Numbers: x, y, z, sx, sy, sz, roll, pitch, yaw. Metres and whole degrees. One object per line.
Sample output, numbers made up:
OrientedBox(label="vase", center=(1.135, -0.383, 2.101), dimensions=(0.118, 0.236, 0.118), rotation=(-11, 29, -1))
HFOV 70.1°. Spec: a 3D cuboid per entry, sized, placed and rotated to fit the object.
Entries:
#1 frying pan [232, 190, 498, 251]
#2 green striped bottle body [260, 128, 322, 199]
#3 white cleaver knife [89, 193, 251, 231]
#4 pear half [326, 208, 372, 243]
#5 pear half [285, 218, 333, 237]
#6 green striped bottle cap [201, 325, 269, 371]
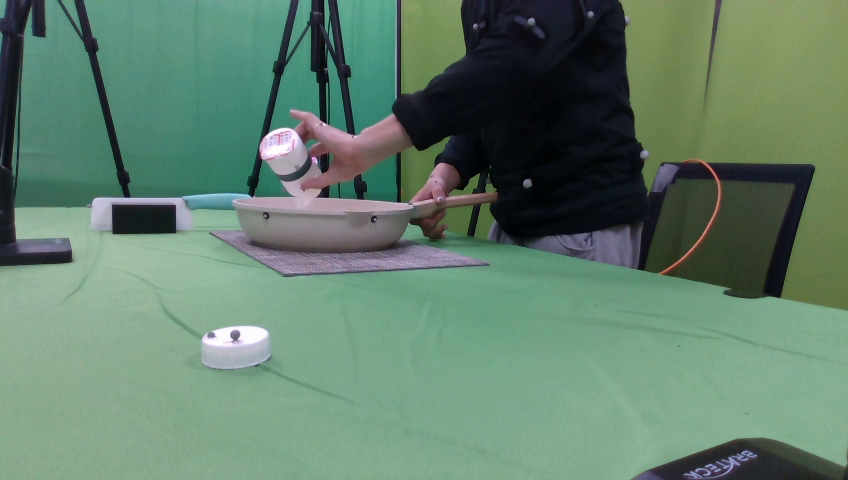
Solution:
OrientedBox(label="frying pan", center=(-0.073, -0.051, 1.048), dimensions=(0.490, 0.102, 0.305), rotation=(-11, 13, -27))
OrientedBox(label="green striped bottle body", center=(-0.203, -0.115, 0.951), dimensions=(0.063, 0.063, 0.119), rotation=(5, -30, 20))
OrientedBox(label="white cleaver knife", center=(-0.454, -0.052, 1.114), dimensions=(0.288, 0.066, 0.021), rotation=(-4, 14, -27))
OrientedBox(label="pear half", center=(-0.128, -0.026, 1.017), dimensions=(0.076, 0.056, 0.109), rotation=(6, 4, -17))
OrientedBox(label="pear half", center=(-0.198, -0.023, 1.053), dimensions=(0.088, 0.031, 0.070), rotation=(-9, 18, -44))
OrientedBox(label="green striped bottle cap", center=(-0.129, 0.073, 0.415), dimensions=(0.044, 0.020, 0.044), rotation=(2, 8, 0))
